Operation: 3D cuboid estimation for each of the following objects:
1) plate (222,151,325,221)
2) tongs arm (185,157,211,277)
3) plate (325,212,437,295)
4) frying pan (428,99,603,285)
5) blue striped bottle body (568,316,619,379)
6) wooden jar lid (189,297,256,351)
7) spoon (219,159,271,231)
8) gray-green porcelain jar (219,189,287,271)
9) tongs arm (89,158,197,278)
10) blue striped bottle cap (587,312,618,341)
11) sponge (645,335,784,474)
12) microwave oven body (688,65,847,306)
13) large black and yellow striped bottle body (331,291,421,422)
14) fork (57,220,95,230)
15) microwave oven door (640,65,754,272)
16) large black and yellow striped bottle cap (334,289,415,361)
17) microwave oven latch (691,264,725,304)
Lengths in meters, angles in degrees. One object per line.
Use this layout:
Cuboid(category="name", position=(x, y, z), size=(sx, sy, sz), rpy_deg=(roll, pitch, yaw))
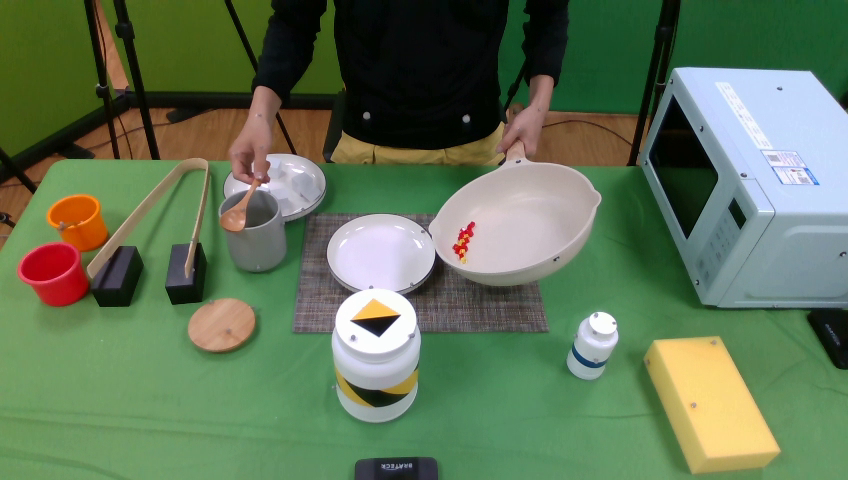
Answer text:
Cuboid(category="plate", position=(-0.310, -0.106, 1.263), size=(0.208, 0.039, 0.206), rpy_deg=(2, 47, -2))
Cuboid(category="tongs arm", position=(-0.446, -0.057, 1.168), size=(0.051, 0.026, 0.382), rpy_deg=(-5, 37, -6))
Cuboid(category="plate", position=(-0.080, 0.030, 1.143), size=(0.209, 0.038, 0.208), rpy_deg=(3, 46, -2))
Cuboid(category="frying pan", position=(0.174, -0.108, 1.126), size=(0.306, 0.103, 0.485), rpy_deg=(-8, 48, 20))
Cuboid(category="blue striped bottle body", position=(0.276, 0.169, 0.984), size=(0.063, 0.121, 0.062), rpy_deg=(2, 46, -2))
Cuboid(category="wooden jar lid", position=(-0.342, 0.145, 1.033), size=(0.108, 0.021, 0.107), rpy_deg=(2, 45, -2))
Cuboid(category="spoon", position=(-0.308, -0.083, 1.073), size=(0.042, 0.022, 0.193), rpy_deg=(25, 49, -9))
Cuboid(category="gray-green porcelain jar", position=(-0.310, -0.014, 1.113), size=(0.106, 0.127, 0.105), rpy_deg=(2, 46, -2))
Cuboid(category="tongs arm", position=(-0.530, -0.057, 1.164), size=(0.028, 0.028, 0.385), rpy_deg=(1, 36, 8))
Cuboid(category="blue striped bottle cap", position=(0.279, 0.134, 0.946), size=(0.044, 0.021, 0.044), rpy_deg=(2, 45, -2))
Cuboid(category="sponge", position=(0.449, 0.253, 0.956), size=(0.118, 0.061, 0.205), rpy_deg=(-4, 46, -7))
Cuboid(category="microwave oven body", position=(0.669, -0.111, 1.176), size=(0.326, 0.261, 0.439), rpy_deg=(0, 46, -3))
Cuboid(category="large black and yellow striped bottle body", position=(-0.072, 0.175, 0.911), size=(0.131, 0.185, 0.130), rpy_deg=(2, 47, -2))
Cuboid(category="fork", position=(-0.624, -0.027, 1.086), size=(0.028, 0.207, 0.018), rpy_deg=(-2, 91, -17))
Cuboid(category="microwave oven door", position=(0.523, -0.147, 1.193), size=(0.039, 0.245, 0.353), rpy_deg=(0, 47, -3))
Cuboid(category="large black and yellow striped bottle cap", position=(-0.069, 0.117, 0.850), size=(0.115, 0.019, 0.114), rpy_deg=(2, 45, -2))
Cuboid(category="microwave oven latch", position=(0.521, 0.081, 1.116), size=(0.030, 0.029, 0.078), rpy_deg=(0, 46, -3))
